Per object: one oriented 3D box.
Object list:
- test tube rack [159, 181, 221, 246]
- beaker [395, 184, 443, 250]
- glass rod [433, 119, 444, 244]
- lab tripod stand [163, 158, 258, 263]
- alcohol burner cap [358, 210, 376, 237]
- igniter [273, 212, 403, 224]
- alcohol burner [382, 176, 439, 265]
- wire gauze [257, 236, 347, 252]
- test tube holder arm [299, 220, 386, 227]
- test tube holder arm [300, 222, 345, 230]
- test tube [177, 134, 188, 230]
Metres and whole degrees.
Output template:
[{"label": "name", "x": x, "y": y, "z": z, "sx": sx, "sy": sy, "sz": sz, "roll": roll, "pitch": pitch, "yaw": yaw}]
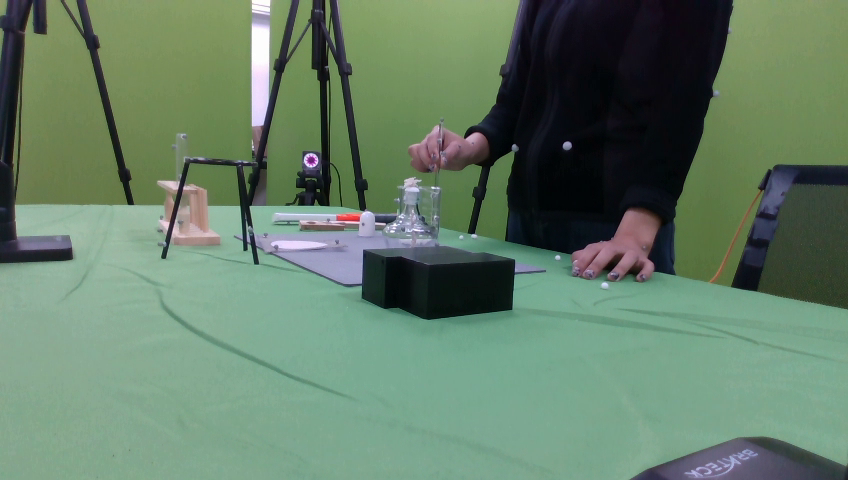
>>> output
[{"label": "test tube rack", "x": -0.395, "y": -0.050, "z": 1.010, "sx": 0.067, "sy": 0.085, "sz": 0.241, "roll": -2, "pitch": 9, "yaw": -28}, {"label": "beaker", "x": -0.007, "y": -0.037, "z": 0.964, "sx": 0.074, "sy": 0.100, "sz": 0.083, "roll": -4, "pitch": 11, "yaw": -40}, {"label": "glass rod", "x": 0.023, "y": -0.091, "z": 0.966, "sx": 0.008, "sy": 0.199, "sz": 0.008, "roll": 3, "pitch": 10, "yaw": 0}, {"label": "lab tripod stand", "x": -0.265, "y": -0.041, "z": 0.802, "sx": 0.148, "sy": 0.131, "sz": 0.148, "roll": 4, "pitch": 7, "yaw": 0}, {"label": "alcohol burner cap", "x": -0.104, "y": -0.030, "z": 1.098, "sx": 0.034, "sy": 0.048, "sz": 0.034, "roll": 2, "pitch": 7, "yaw": 0}, {"label": "igniter", "x": -0.179, "y": -0.048, "z": 1.290, "sx": 0.278, "sy": 0.025, "sz": 0.057, "roll": -1, "pitch": -2, "yaw": -24}, {"label": "alcohol burner", "x": -0.018, "y": -0.026, "z": 0.818, "sx": 0.078, "sy": 0.119, "sz": 0.078, "roll": 3, "pitch": 9, "yaw": 0}, {"label": "wire gauze", "x": -0.189, "y": 0.006, "z": 0.931, "sx": 0.122, "sy": 0.011, "sz": 0.124, "roll": 1, "pitch": 7, "yaw": -21}, {"label": "test tube holder arm", "x": -0.158, "y": -0.032, "z": 1.195, "sx": 0.179, "sy": 0.015, "sz": 0.013, "roll": -2, "pitch": 43, "yaw": -29}, {"label": "test tube holder arm", "x": -0.196, "y": -0.027, "z": 1.170, "sx": 0.088, "sy": 0.015, "sz": 0.010, "roll": -1, "pitch": 43, "yaw": -28}, {"label": "test tube", "x": -0.374, "y": -0.089, "z": 0.938, "sx": 0.017, "sy": 0.150, "sz": 0.017, "roll": 2, "pitch": 4, "yaw": 0}]
